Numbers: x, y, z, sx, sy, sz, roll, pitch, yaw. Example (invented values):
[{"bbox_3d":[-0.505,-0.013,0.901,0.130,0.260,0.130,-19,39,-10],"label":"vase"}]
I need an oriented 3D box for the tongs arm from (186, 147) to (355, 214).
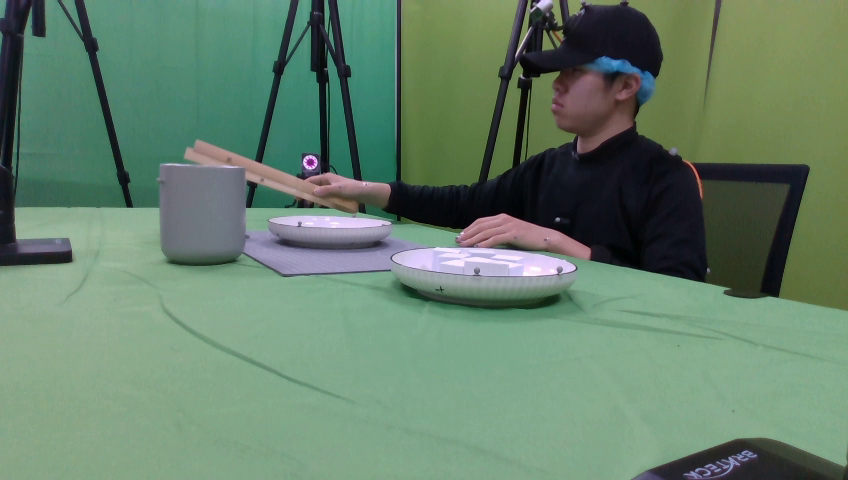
[{"bbox_3d":[-0.331,-0.131,1.353,0.387,0.026,0.050,19,-12,-26],"label":"tongs arm"}]

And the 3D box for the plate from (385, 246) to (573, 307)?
[{"bbox_3d":[0.060,0.041,0.678,0.208,0.039,0.207,3,7,0],"label":"plate"}]

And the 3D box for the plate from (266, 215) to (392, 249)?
[{"bbox_3d":[-0.159,-0.015,1.019,0.209,0.038,0.209,3,7,0],"label":"plate"}]

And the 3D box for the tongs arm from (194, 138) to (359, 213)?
[{"bbox_3d":[-0.299,-0.131,1.296,0.390,0.027,0.028,21,-16,-35],"label":"tongs arm"}]

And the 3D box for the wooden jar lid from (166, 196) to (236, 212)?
[{"bbox_3d":[-0.369,-0.060,1.001,0.108,0.020,0.108,3,6,0],"label":"wooden jar lid"}]

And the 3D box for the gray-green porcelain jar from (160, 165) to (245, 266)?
[{"bbox_3d":[-0.291,-0.034,0.799,0.106,0.126,0.106,2,8,0],"label":"gray-green porcelain jar"}]
